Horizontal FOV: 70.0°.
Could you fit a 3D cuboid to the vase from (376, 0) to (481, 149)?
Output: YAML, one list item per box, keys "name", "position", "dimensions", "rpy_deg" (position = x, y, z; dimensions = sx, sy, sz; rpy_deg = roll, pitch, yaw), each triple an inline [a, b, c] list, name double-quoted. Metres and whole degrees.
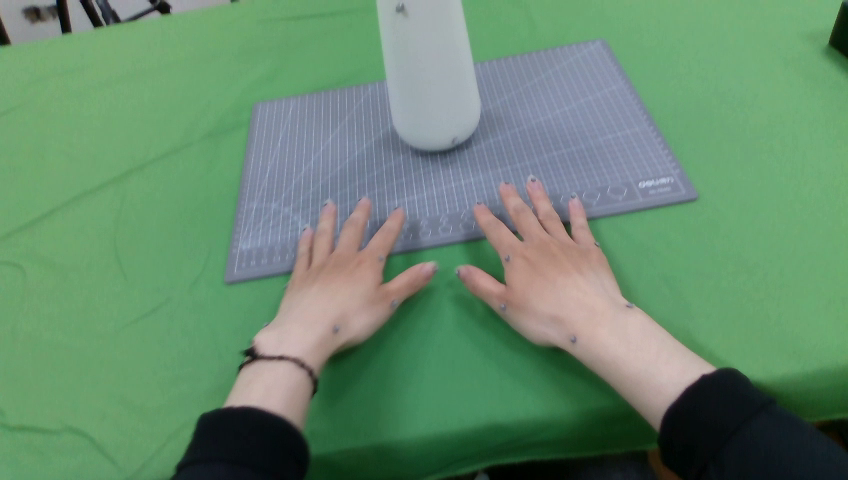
- name: "vase"
  position: [0.003, -0.191, 0.610]
  dimensions: [0.098, 0.202, 0.097]
  rpy_deg: [-6, 46, 7]

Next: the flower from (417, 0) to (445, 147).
- name: "flower"
  position: [-0.009, -0.259, 0.561]
  dimensions: [0.038, 0.364, 0.043]
  rpy_deg: [-25, 31, -27]
